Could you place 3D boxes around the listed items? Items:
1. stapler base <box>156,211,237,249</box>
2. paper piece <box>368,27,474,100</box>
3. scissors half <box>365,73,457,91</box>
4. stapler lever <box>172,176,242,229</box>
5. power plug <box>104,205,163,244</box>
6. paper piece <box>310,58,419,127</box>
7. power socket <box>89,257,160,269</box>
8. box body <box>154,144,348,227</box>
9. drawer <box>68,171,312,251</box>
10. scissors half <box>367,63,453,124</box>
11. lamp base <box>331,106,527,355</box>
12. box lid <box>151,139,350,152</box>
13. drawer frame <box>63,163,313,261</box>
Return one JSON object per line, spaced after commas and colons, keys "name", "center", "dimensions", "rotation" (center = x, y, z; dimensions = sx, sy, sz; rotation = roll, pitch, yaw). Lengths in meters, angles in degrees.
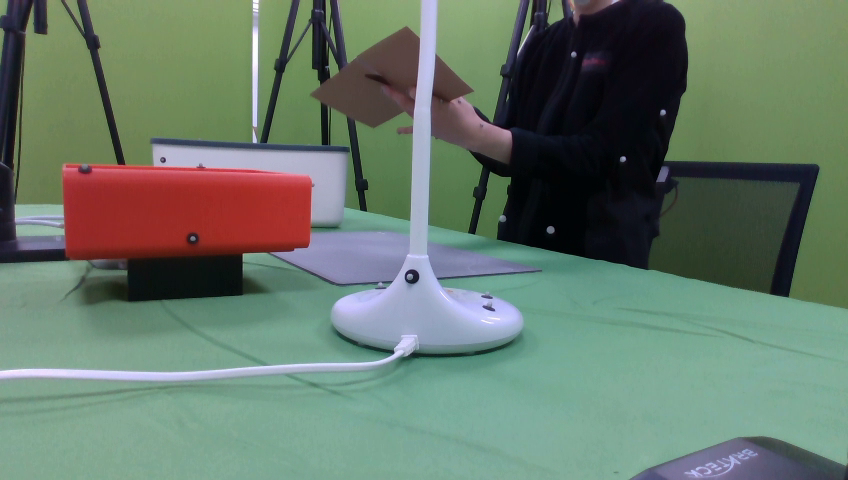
{"name": "stapler base", "center": [-0.227, -0.017, 0.624], "dimensions": [0.041, 0.024, 0.130], "rotation": [18, 10, -2]}
{"name": "paper piece", "center": [-0.008, -0.253, 0.880], "dimensions": [0.139, 0.008, 0.135], "rotation": [39, -7, -28]}
{"name": "scissors half", "center": [-0.016, -0.255, 0.957], "dimensions": [0.176, 0.040, 0.013], "rotation": [-9, 9, -34]}
{"name": "stapler lever", "center": [-0.218, -0.041, 0.618], "dimensions": [0.027, 0.040, 0.118], "rotation": [18, 11, -2]}
{"name": "power plug", "center": [-0.390, -0.021, 0.815], "dimensions": [0.073, 0.052, 0.035], "rotation": [-1, 8, -27]}
{"name": "paper piece", "center": [-0.094, -0.233, 0.981], "dimensions": [0.136, 0.004, 0.135], "rotation": [20, -25, -34]}
{"name": "power socket", "center": [-0.409, 0.004, 0.793], "dimensions": [0.072, 0.032, 0.225], "rotation": [-2, 8, -38]}
{"name": "box body", "center": [-0.357, -0.119, 1.264], "dimensions": [0.365, 0.160, 0.253], "rotation": [0, 7, -18]}
{"name": "drawer", "center": [-0.247, -0.036, 0.629], "dimensions": [0.213, 0.073, 0.193], "rotation": [-3, 9, -30]}
{"name": "scissors half", "center": [-0.021, -0.233, 0.958], "dimensions": [0.176, 0.040, 0.012], "rotation": [29, -8, -34]}
{"name": "lamp base", "center": [0.006, -0.012, 0.478], "dimensions": [0.161, 0.180, 0.179], "rotation": [2, 10, 2]}
{"name": "box lid", "center": [-0.352, -0.191, 1.255], "dimensions": [0.373, 0.015, 0.262], "rotation": [0, 8, -18]}
{"name": "drawer frame", "center": [-0.248, -0.036, 0.626], "dimensions": [0.215, 0.082, 0.200], "rotation": [-3, 9, -31]}
